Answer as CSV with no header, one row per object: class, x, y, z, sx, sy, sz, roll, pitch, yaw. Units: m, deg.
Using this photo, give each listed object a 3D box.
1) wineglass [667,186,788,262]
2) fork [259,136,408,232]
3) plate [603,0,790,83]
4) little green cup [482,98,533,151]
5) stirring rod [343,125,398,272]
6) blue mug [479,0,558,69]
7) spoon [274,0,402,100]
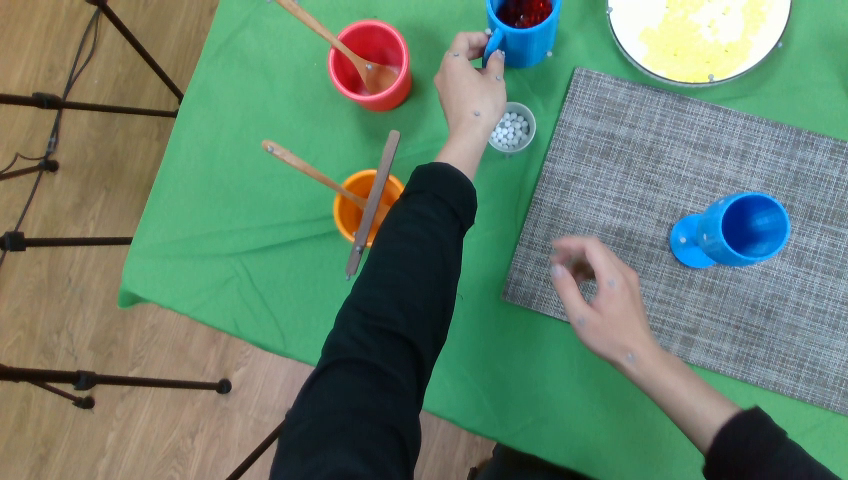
wineglass,0.309,-0.012,0.634,0.073,0.173,0.073,0,86,8
fork,-0.100,-0.064,0.706,0.209,0.018,0.028,31,98,-35
plate,0.317,-0.286,0.720,0.209,0.038,0.209,0,88,7
little green cup,0.102,-0.139,0.740,0.061,0.039,0.061,-1,86,8
stirring rod,-0.062,-0.048,0.697,0.014,0.006,0.176,17,90,9
blue mug,0.103,-0.252,0.712,0.082,0.106,0.116,38,92,9
spoon,-0.102,-0.233,0.718,0.196,0.021,0.041,34,93,-35
